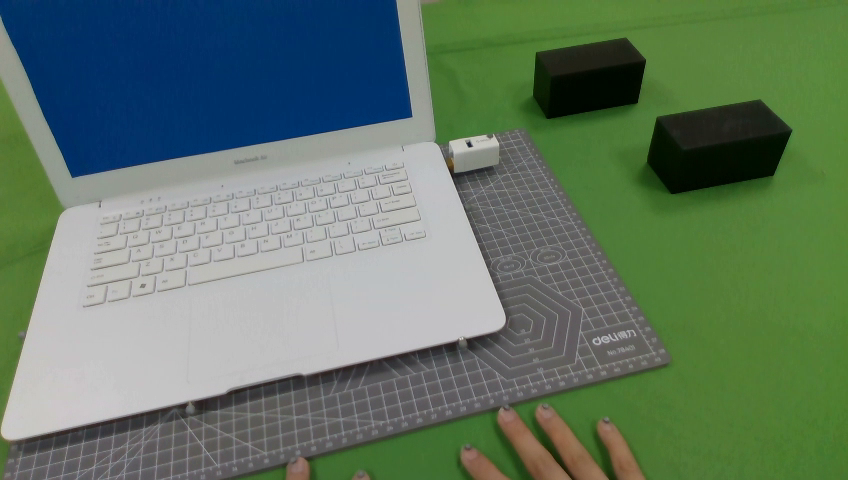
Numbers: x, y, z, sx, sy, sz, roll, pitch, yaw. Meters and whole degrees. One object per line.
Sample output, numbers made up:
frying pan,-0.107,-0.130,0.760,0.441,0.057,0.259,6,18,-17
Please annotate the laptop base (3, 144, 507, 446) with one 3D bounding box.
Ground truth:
laptop base,-0.133,0.025,0.500,0.355,0.023,0.233,-12,48,-7

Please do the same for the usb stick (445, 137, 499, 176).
usb stick,0.040,-0.077,0.569,0.059,0.027,0.021,-13,46,-5

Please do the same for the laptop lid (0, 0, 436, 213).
laptop lid,-0.173,-0.156,0.521,0.357,0.244,0.013,-13,31,-6
